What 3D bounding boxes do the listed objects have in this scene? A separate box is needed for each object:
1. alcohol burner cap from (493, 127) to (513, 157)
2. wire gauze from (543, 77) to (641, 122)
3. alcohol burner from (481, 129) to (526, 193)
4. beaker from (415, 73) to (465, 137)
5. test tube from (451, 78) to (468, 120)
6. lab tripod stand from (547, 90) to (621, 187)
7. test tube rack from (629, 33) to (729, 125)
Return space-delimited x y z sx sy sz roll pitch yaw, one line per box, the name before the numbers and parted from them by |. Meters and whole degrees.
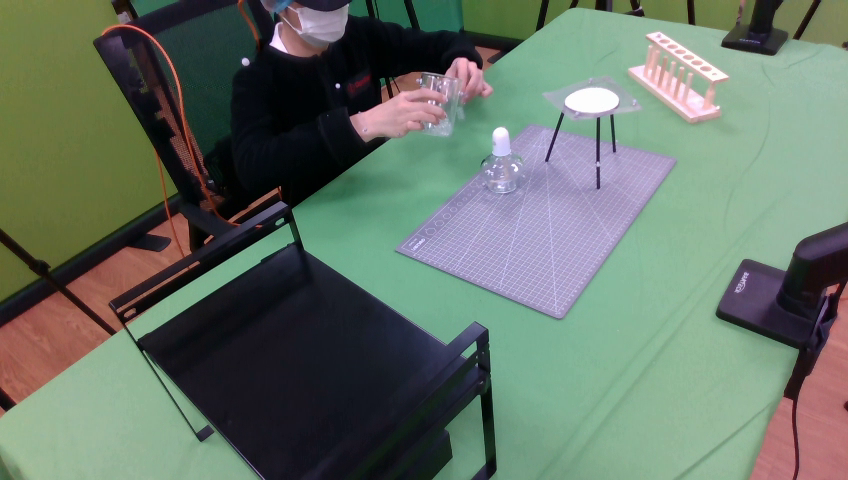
alcohol burner cap | 0.132 -0.169 1.030 0.034 0.048 0.033 -7 36 5
wire gauze | 0.282 -0.236 1.020 0.125 0.011 0.120 -15 40 -6
alcohol burner | 0.138 -0.142 1.052 0.078 0.119 0.077 -5 42 5
beaker | 0.025 -0.235 1.052 0.074 0.100 0.083 8 14 -7
test tube | 0.070 -0.268 1.163 0.017 0.151 0.017 -2 75 10
lab tripod stand | 0.289 -0.184 1.062 0.148 0.132 0.147 -6 41 6
test tube rack | 0.516 -0.337 1.247 0.067 0.085 0.240 -14 41 -7
